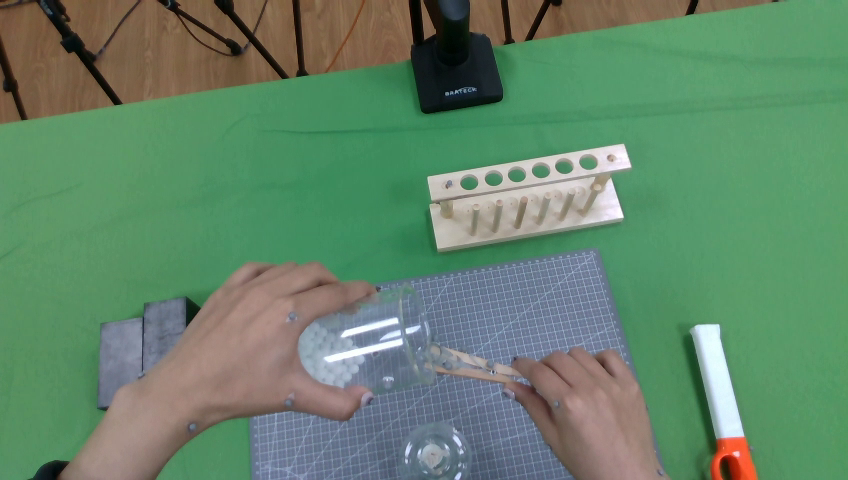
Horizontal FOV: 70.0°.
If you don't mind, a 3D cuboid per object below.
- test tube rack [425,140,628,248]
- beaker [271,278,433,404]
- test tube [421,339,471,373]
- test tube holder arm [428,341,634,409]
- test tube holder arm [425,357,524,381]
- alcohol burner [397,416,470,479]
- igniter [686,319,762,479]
[{"bbox_3d":[0.127,-0.056,0.757,0.242,0.086,0.066,-10,67,-2],"label":"test tube rack"},{"bbox_3d":[-0.051,0.077,0.441,0.100,0.085,0.073,-15,58,11],"label":"beaker"},{"bbox_3d":[0.022,0.105,0.535,0.017,0.151,0.017,-4,72,13],"label":"test tube"},{"bbox_3d":[0.088,0.115,0.520,0.178,0.015,0.013,12,82,16],"label":"test tube holder arm"},{"bbox_3d":[0.045,0.113,0.531,0.087,0.015,0.010,5,79,15],"label":"test tube holder arm"},{"bbox_3d":[0.009,0.219,0.627,0.078,0.120,0.077,-1,65,2],"label":"alcohol burner"},{"bbox_3d":[0.333,0.221,0.662,0.057,0.025,0.274,0,67,-8],"label":"igniter"}]
